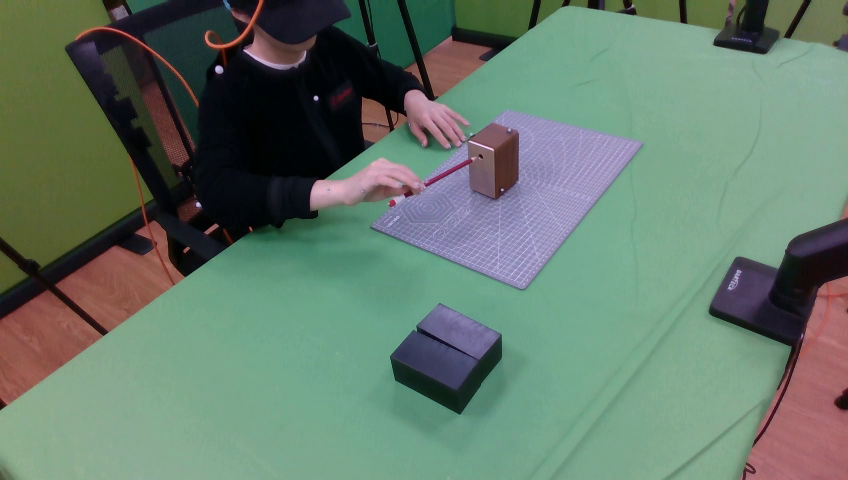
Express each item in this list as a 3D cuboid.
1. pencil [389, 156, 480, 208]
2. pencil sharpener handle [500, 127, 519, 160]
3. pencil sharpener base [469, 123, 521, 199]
[{"bbox_3d":[0.022,-0.097,0.963,0.195,0.012,0.012,-31,46,-29],"label":"pencil"},{"bbox_3d":[0.157,-0.175,1.070,0.035,0.068,0.031,30,53,29],"label":"pencil sharpener handle"},{"bbox_3d":[0.126,-0.138,1.049,0.061,0.107,0.077,26,50,34],"label":"pencil sharpener base"}]
